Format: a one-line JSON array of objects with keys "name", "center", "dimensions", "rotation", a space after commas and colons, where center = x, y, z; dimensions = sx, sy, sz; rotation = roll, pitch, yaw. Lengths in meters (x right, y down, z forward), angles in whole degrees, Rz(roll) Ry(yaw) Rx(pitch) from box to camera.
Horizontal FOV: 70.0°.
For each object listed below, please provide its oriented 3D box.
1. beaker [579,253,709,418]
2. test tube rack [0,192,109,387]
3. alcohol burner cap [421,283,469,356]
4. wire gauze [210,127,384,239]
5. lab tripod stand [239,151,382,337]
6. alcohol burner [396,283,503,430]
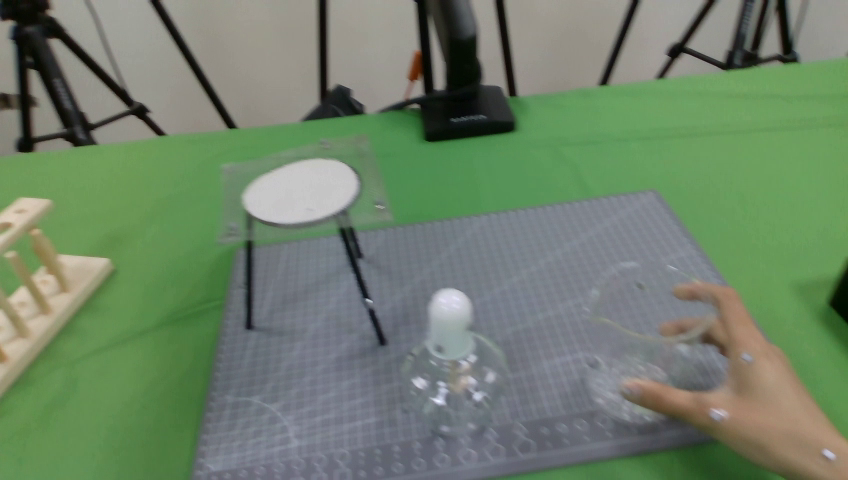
[{"name": "beaker", "center": [0.147, 0.071, 0.428], "dimensions": [0.084, 0.101, 0.073], "rotation": [-11, 40, -5]}, {"name": "test tube rack", "center": [-0.381, 0.065, 0.511], "dimensions": [0.066, 0.086, 0.240], "rotation": [5, 41, 11]}, {"name": "alcohol burner cap", "center": [0.013, 0.050, 0.400], "dimensions": [0.034, 0.048, 0.033], "rotation": [-2, 37, 2]}, {"name": "wire gauze", "center": [-0.102, -0.045, 0.464], "dimensions": [0.125, 0.011, 0.120], "rotation": [-12, 40, -7]}, {"name": "lab tripod stand", "center": [-0.096, 0.006, 0.507], "dimensions": [0.148, 0.133, 0.147], "rotation": [-3, 42, 3]}, {"name": "alcohol burner", "center": [0.017, 0.077, 0.424], "dimensions": [0.078, 0.120, 0.077], "rotation": [-4, 38, 3]}]
